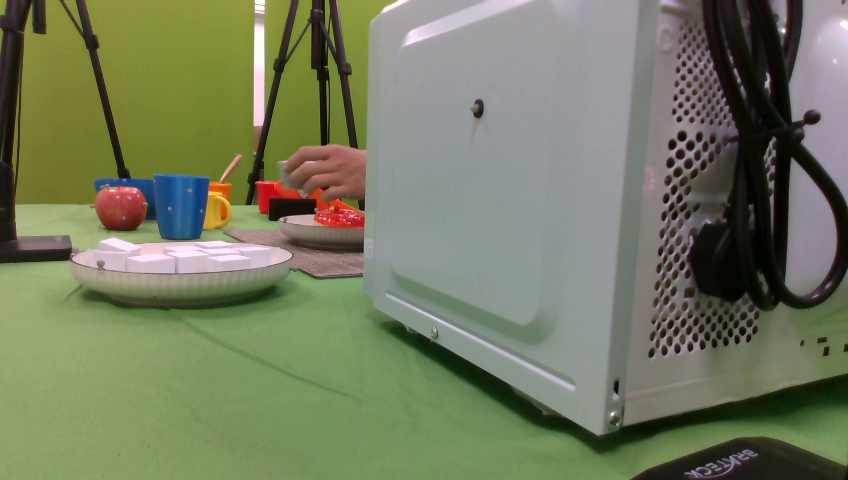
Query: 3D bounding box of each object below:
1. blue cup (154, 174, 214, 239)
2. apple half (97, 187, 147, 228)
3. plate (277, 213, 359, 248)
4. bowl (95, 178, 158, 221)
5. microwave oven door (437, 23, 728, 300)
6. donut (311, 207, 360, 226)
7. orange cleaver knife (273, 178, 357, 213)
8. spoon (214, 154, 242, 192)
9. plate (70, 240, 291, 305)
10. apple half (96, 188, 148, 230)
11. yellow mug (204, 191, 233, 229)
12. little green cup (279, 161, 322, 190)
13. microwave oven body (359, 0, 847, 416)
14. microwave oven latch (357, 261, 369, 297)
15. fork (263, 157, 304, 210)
[{"bbox_3d":[-0.391,-0.054,0.978,0.093,0.100,0.092,4,6,0],"label":"blue cup"},{"bbox_3d":[-0.534,-0.059,1.071,0.082,0.081,0.032,-1,11,-25],"label":"apple half"},{"bbox_3d":[-0.135,-0.017,0.992,0.209,0.038,0.209,2,8,0],"label":"plate"},{"bbox_3d":[-0.576,-0.081,1.217,0.151,0.077,0.151,3,8,0],"label":"bowl"},{"bbox_3d":[0.181,-0.072,0.621,0.358,0.243,0.039,-2,9,-29],"label":"microwave oven door"},{"bbox_3d":[-0.137,-0.029,0.995,0.099,0.048,0.099,3,9,0],"label":"donut"},{"bbox_3d":[-0.238,-0.091,1.381,0.212,0.077,0.012,31,0,-19],"label":"orange cleaver knife"},{"bbox_3d":[-0.439,-0.124,1.318,0.041,0.193,0.022,5,-36,17],"label":"spoon"},{"bbox_3d":[-0.242,0.031,0.618,0.208,0.039,0.207,2,8,0],"label":"plate"},{"bbox_3d":[-0.517,-0.052,1.036,0.081,0.074,0.053,2,10,-26],"label":"apple half"},{"bbox_3d":[-0.415,-0.057,1.131,0.130,0.064,0.100,5,8,16],"label":"yellow mug"},{"bbox_3d":[-0.177,-0.093,0.866,0.061,0.038,0.061,3,11,0],"label":"little green cup"},{"bbox_3d":[0.211,-0.047,0.474,0.444,0.260,0.324,-1,7,-28],"label":"microwave oven body"},{"bbox_3d":[-0.019,0.033,0.530,0.079,0.029,0.030,-1,7,-27],"label":"microwave oven latch"},{"bbox_3d":[-0.345,-0.143,1.505,0.028,0.019,0.207,-3,46,28],"label":"fork"}]
